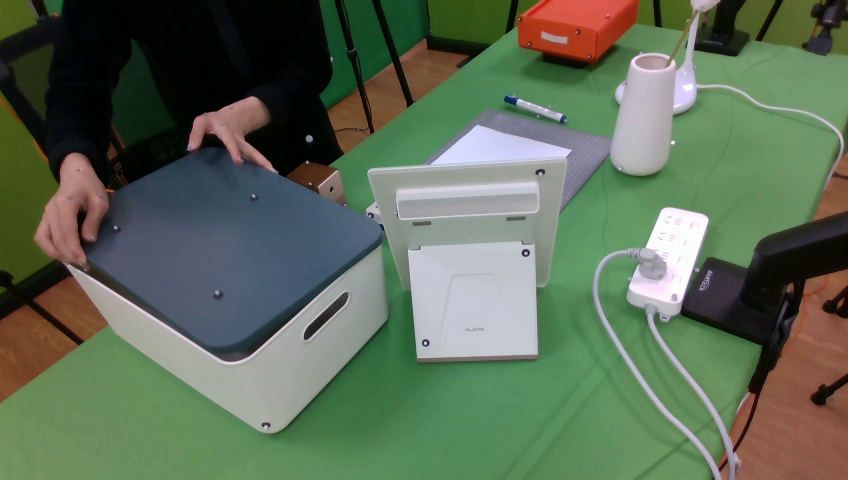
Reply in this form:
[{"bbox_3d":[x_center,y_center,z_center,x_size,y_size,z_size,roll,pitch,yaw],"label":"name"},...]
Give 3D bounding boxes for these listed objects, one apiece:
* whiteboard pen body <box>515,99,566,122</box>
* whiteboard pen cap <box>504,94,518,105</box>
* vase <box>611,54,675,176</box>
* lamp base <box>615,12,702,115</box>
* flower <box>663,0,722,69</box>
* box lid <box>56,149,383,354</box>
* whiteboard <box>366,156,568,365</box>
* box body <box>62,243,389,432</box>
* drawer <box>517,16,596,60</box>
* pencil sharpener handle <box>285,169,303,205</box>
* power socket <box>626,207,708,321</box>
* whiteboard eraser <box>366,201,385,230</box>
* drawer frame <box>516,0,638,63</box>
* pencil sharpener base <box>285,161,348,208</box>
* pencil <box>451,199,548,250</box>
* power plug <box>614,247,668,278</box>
[{"bbox_3d":[0.233,-0.274,1.262,0.139,0.017,0.017,28,51,29],"label":"whiteboard pen body"},{"bbox_3d":[0.190,-0.299,1.292,0.033,0.018,0.018,30,52,28],"label":"whiteboard pen cap"},{"bbox_3d":[0.377,-0.209,1.031,0.098,0.201,0.097,-3,40,3],"label":"vase"},{"bbox_3d":[0.484,-0.364,1.211,0.180,0.181,0.159,-15,41,-14],"label":"lamp base"},{"bbox_3d":[0.379,-0.261,0.965,0.044,0.362,0.038,20,53,5],"label":"flower"},{"bbox_3d":[-0.262,-0.010,0.772,0.368,0.015,0.264,25,46,29],"label":"box lid"},{"bbox_3d":[0.059,0.050,0.738,0.217,0.307,0.143,-2,60,6],"label":"whiteboard"},{"bbox_3d":[-0.255,0.065,0.827,0.361,0.161,0.255,21,48,29],"label":"box body"},{"bbox_3d":[0.353,-0.506,1.405,0.193,0.073,0.212,23,49,32],"label":"drawer"},{"bbox_3d":[-0.227,-0.092,1.031,0.030,0.068,0.036,16,37,26],"label":"pencil sharpener handle"},{"bbox_3d":[0.359,0.025,0.886,0.072,0.033,0.227,16,46,26],"label":"power socket"},{"bbox_3d":[-0.037,-0.038,1.006,0.112,0.042,0.055,16,48,25],"label":"whiteboard eraser"},{"bbox_3d":[0.355,-0.508,1.410,0.200,0.083,0.214,23,51,32],"label":"drawer frame"},{"bbox_3d":[-0.180,-0.071,1.019,0.076,0.107,0.061,16,46,26],"label":"pencil sharpener base"},{"bbox_3d":[0.125,-0.025,0.994,0.195,0.012,0.012,-26,44,-19],"label":"pencil"},{"bbox_3d":[0.306,0.031,0.851,0.072,0.053,0.035,24,49,33],"label":"power plug"}]
